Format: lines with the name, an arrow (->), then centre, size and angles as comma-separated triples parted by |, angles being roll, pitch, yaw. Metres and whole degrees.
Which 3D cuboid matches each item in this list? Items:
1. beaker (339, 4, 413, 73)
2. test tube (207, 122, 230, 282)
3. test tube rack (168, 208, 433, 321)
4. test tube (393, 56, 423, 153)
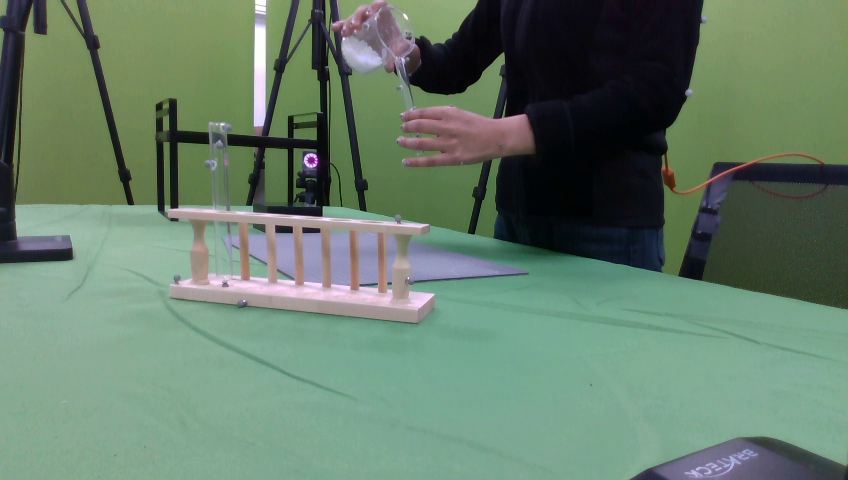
beaker -> -0.076, -0.302, 0.929 | 0.074, 0.084, 0.100 | -12, 2, -42
test tube -> -0.192, -0.034, 0.564 | 0.017, 0.150, 0.017 | 2, 11, 0
test tube rack -> -0.116, 0.018, 0.574 | 0.242, 0.085, 0.067 | 4, 8, 13
test tube -> -0.024, -0.199, 0.887 | 0.017, 0.150, 0.017 | -12, -7, -1
